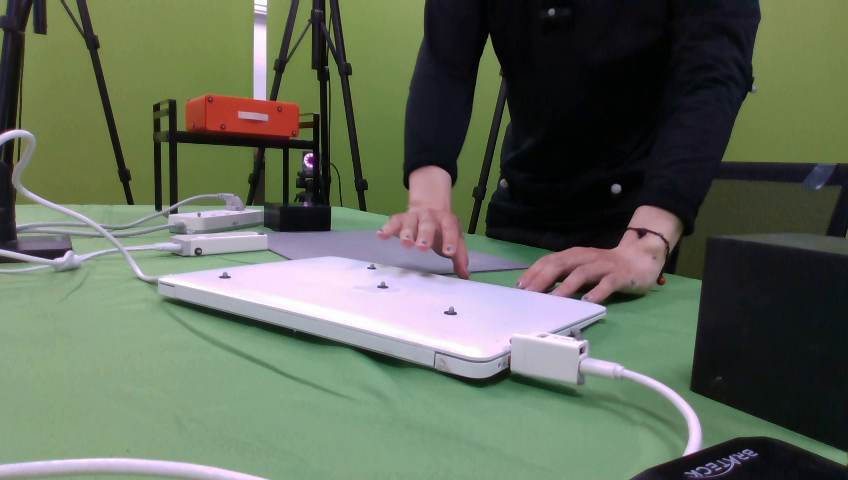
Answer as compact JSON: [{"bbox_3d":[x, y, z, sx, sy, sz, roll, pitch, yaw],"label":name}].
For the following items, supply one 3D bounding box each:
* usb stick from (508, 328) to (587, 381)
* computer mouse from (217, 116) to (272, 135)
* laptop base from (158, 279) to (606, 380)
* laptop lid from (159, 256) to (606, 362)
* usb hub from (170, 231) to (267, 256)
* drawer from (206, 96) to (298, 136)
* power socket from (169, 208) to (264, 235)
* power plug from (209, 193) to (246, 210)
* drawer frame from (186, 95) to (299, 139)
[{"bbox_3d":[0.072,0.071,0.383,0.059,0.027,0.021,0,3,34],"label":"usb stick"},{"bbox_3d":[-0.402,-0.258,1.354,0.118,0.041,0.062,-6,15,-34],"label":"computer mouse"},{"bbox_3d":[-0.042,0.058,0.554,0.352,0.023,0.237,8,7,35],"label":"laptop base"},{"bbox_3d":[-0.040,0.046,0.554,0.355,0.013,0.243,8,8,36],"label":"laptop lid"},{"bbox_3d":[-0.290,0.004,0.862,0.049,0.025,0.126,10,11,42],"label":"usb hub"},{"bbox_3d":[-0.413,-0.276,1.376,0.195,0.073,0.210,-3,9,-31],"label":"drawer"},{"bbox_3d":[-0.381,-0.038,1.128,0.072,0.032,0.227,4,8,16],"label":"power socket"},{"bbox_3d":[-0.388,-0.067,1.205,0.072,0.052,0.035,3,7,26],"label":"power plug"},{"bbox_3d":[-0.417,-0.277,1.378,0.203,0.082,0.212,-3,8,-32],"label":"drawer frame"}]
